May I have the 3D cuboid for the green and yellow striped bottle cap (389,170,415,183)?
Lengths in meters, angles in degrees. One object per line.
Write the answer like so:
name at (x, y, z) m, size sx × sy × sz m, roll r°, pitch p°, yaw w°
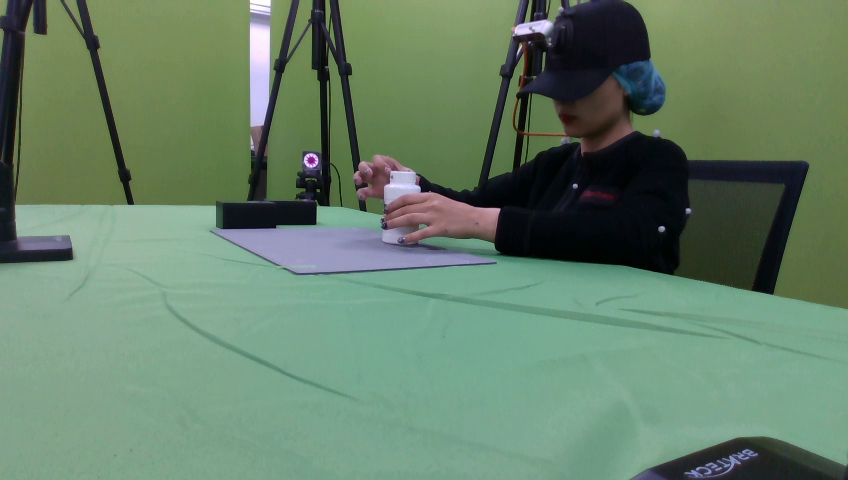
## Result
green and yellow striped bottle cap at (-0.036, -0.106, 1.011) m, size 0.045 × 0.020 × 0.045 m, roll 4°, pitch 6°, yaw 0°

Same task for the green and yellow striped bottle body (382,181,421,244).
green and yellow striped bottle body at (-0.038, -0.055, 1.018) m, size 0.063 × 0.119 × 0.063 m, roll 3°, pitch 8°, yaw 0°
